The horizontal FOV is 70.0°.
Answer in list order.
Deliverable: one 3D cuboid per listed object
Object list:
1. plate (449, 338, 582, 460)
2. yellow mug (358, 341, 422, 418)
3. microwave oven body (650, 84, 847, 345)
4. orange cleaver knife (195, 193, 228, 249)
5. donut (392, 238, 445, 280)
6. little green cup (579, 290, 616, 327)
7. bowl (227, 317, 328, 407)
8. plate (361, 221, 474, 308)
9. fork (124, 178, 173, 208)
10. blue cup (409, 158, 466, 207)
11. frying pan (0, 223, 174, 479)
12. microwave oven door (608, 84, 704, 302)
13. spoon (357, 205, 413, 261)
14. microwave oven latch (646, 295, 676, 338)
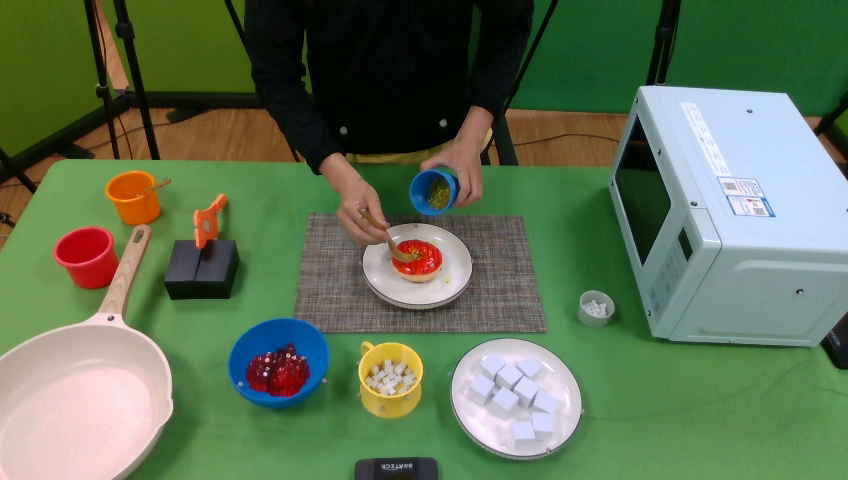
[{"bbox_3d":[0.141,0.251,0.955,0.208,0.039,0.206,2,46,-2],"label":"plate"},{"bbox_3d":[-0.063,0.210,0.961,0.100,0.064,0.130,-29,54,-28],"label":"yellow mug"},{"bbox_3d":[0.569,-0.054,1.115,0.326,0.261,0.439,2,46,-1],"label":"microwave oven body"},{"bbox_3d":[-0.406,-0.041,1.163,0.012,0.077,0.210,0,18,-3],"label":"orange cleaver knife"},{"bbox_3d":[-0.011,0.035,1.128,0.099,0.048,0.098,2,42,-2],"label":"donut"},{"bbox_3d":[0.308,0.124,1.086,0.061,0.039,0.061,1,45,-1],"label":"little green cup"},{"bbox_3d":[-0.223,0.203,0.947,0.151,0.077,0.150,2,46,-2],"label":"bowl"},{"bbox_3d":[-0.011,0.049,1.130,0.209,0.038,0.208,2,46,-2],"label":"plate"},{"bbox_3d":[-0.525,-0.089,1.153,0.207,0.019,0.028,-18,27,45],"label":"fork"},{"bbox_3d":[0.033,-0.101,1.144,0.092,0.092,0.100,33,11,25],"label":"blue cup"},{"bbox_3d":[-0.505,0.169,0.941,0.307,0.103,0.485,5,54,-1],"label":"frying pan"},{"bbox_3d":[0.424,-0.096,1.138,0.039,0.245,0.353,2,47,-1],"label":"microwave oven door"},{"bbox_3d":[-0.066,-0.010,1.012,0.041,0.195,0.021,26,73,33],"label":"spoon"},{"bbox_3d":[0.413,0.133,1.060,0.030,0.029,0.078,4,46,1],"label":"microwave oven latch"}]
